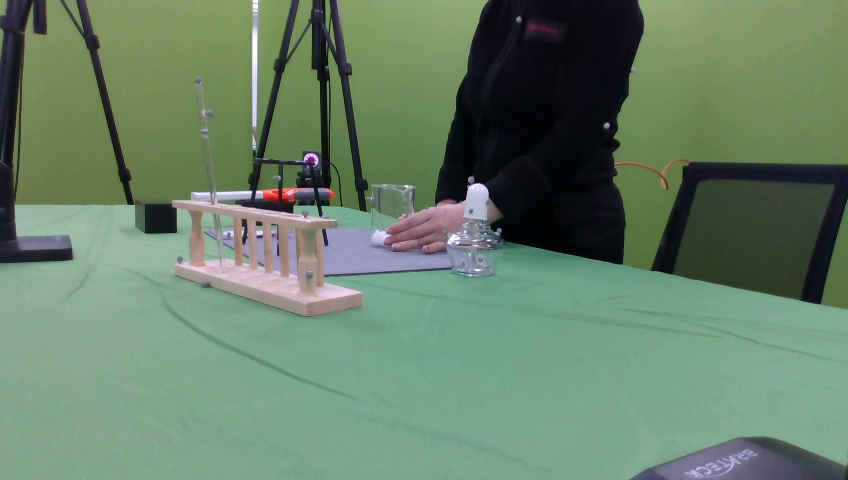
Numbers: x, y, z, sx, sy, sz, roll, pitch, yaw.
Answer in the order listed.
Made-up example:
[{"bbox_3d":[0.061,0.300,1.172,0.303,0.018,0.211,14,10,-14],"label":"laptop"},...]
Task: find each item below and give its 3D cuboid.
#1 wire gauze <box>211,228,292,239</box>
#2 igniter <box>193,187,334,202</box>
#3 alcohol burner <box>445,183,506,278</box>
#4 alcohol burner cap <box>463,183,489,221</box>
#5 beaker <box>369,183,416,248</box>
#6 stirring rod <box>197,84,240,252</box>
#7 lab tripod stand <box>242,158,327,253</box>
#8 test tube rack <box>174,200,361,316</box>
[{"bbox_3d":[-0.298,-0.013,1.039,0.122,0.011,0.124,-2,6,-27],"label":"wire gauze"},{"bbox_3d":[-0.316,-0.090,1.213,0.278,0.025,0.057,-5,13,-31],"label":"igniter"},{"bbox_3d":[0.066,-0.013,0.771,0.078,0.119,0.078,0,7,0],"label":"alcohol burner"},{"bbox_3d":[0.067,-0.049,0.765,0.034,0.048,0.034,5,5,0],"label":"alcohol burner cap"},{"bbox_3d":[-0.050,-0.039,0.971,0.074,0.100,0.083,-1,8,-25],"label":"beaker"},{"bbox_3d":[-0.212,-0.072,0.625,0.006,0.176,0.014,-14,12,-21],"label":"stirring rod"},{"bbox_3d":[-0.207,-0.054,0.895,0.148,0.131,0.148,2,5,0],"label":"lab tripod stand"},{"bbox_3d":[-0.169,0.009,0.622,0.241,0.085,0.067,9,9,41],"label":"test tube rack"}]
